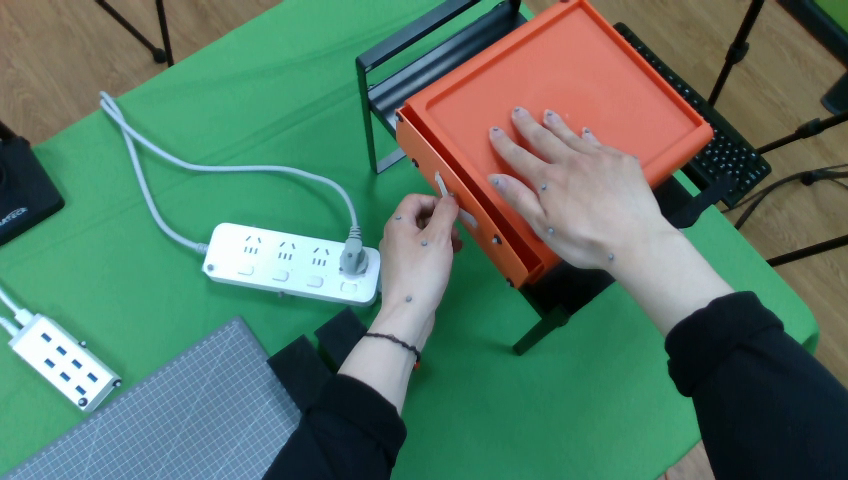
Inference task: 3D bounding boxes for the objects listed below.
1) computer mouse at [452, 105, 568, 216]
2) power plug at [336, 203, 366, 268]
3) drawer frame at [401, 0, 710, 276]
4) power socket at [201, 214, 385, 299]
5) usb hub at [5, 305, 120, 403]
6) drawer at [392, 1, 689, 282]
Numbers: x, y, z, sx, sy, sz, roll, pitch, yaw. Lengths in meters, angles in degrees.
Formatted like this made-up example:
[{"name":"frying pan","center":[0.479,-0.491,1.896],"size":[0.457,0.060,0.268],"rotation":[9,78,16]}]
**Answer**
[{"name":"computer mouse","center":[0.083,-0.081,0.591],"size":[0.063,0.041,0.116],"rotation":[-40,76,-8]},{"name":"power plug","center":[-0.082,-0.001,0.736],"size":[0.035,0.053,0.072],"rotation":[21,71,4]},{"name":"drawer frame","center":[0.119,-0.109,0.584],"size":[0.213,0.083,0.200],"rotation":[-37,78,-13]},{"name":"power socket","center":[-0.161,0.020,0.746],"size":[0.227,0.033,0.072],"rotation":[10,73,1]},{"name":"usb hub","center":[-0.421,0.132,0.705],"size":[0.125,0.025,0.049],"rotation":[36,76,8]},{"name":"drawer","center":[0.107,-0.098,0.582],"size":[0.212,0.073,0.193],"rotation":[-35,77,-12]}]
